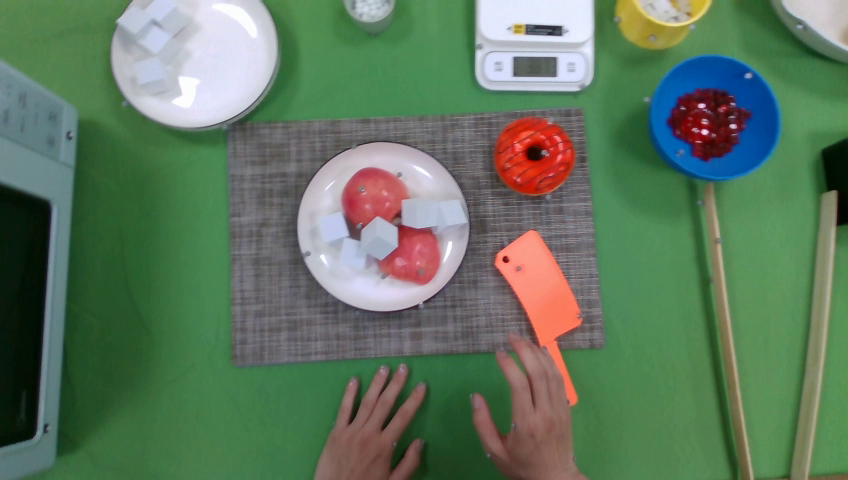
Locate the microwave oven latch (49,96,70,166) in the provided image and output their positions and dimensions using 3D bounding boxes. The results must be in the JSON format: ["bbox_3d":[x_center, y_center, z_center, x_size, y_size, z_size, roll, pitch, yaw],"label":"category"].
[{"bbox_3d":[-0.446,-0.131,0.728,0.030,0.029,0.079,1,83,-1],"label":"microwave oven latch"}]

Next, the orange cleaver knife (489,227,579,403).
[{"bbox_3d":[0.145,0.088,0.729,0.077,0.012,0.210,-21,82,-8],"label":"orange cleaver knife"}]

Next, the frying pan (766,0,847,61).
[{"bbox_3d":[0.610,-0.269,0.740,0.307,0.103,0.485,-30,76,-3],"label":"frying pan"}]

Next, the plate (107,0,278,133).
[{"bbox_3d":[-0.285,-0.232,0.762,0.208,0.039,0.207,0,82,0],"label":"plate"}]

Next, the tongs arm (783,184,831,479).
[{"bbox_3d":[0.454,0.120,0.727,0.028,0.028,0.386,12,83,-6],"label":"tongs arm"}]

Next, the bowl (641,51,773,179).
[{"bbox_3d":[0.328,-0.141,0.735,0.151,0.077,0.151,0,83,0],"label":"bowl"}]

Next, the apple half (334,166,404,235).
[{"bbox_3d":[-0.067,-0.052,0.721,0.074,0.053,0.081,41,83,7],"label":"apple half"}]

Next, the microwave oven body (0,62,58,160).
[{"bbox_3d":[-0.593,0.032,0.609,0.326,0.260,0.440,-1,83,-1],"label":"microwave oven body"}]

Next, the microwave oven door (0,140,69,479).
[{"bbox_3d":[-0.446,0.072,0.600,0.039,0.244,0.354,-1,82,0],"label":"microwave oven door"}]

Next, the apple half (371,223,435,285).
[{"bbox_3d":[-0.026,0.014,0.721,0.081,0.033,0.081,0,84,3],"label":"apple half"}]

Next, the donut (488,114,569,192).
[{"bbox_3d":[0.127,-0.107,0.742,0.099,0.048,0.099,0,83,1],"label":"donut"}]

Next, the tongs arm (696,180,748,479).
[{"bbox_3d":[0.370,0.117,0.724,0.051,0.026,0.383,-2,84,-4],"label":"tongs arm"}]

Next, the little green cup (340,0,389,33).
[{"bbox_3d":[-0.074,-0.297,0.772,0.061,0.039,0.061,0,82,0],"label":"little green cup"}]

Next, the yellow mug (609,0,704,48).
[{"bbox_3d":[0.282,-0.315,0.762,0.100,0.064,0.130,-36,83,-4],"label":"yellow mug"}]

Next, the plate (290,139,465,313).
[{"bbox_3d":[-0.055,-0.016,0.732,0.209,0.038,0.208,0,83,0],"label":"plate"}]

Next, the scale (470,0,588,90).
[{"bbox_3d":[0.135,-0.292,0.776,0.149,0.031,0.200,1,83,0],"label":"scale"}]
